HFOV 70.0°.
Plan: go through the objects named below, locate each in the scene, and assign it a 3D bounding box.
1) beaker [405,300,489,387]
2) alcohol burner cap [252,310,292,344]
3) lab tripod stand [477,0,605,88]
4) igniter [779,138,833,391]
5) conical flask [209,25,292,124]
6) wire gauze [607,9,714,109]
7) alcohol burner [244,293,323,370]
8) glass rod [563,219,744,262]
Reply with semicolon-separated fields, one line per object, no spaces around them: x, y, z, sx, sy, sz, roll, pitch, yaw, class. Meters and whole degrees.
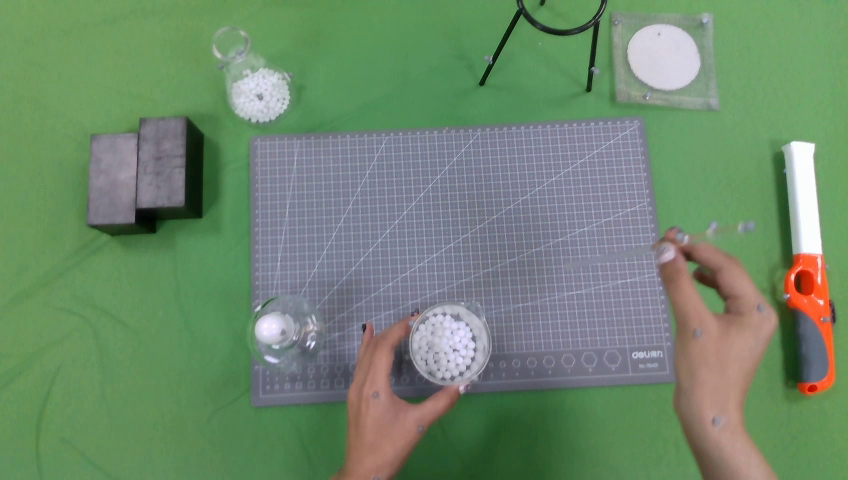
0.020;0.098;0.582;0.074;0.100;0.084;34;78;4;beaker
-0.141;0.080;0.557;0.034;0.048;0.034;1;82;-4;alcohol burner cap
0.128;-0.228;0.649;0.148;0.132;0.148;0;81;0;lab tripod stand
0.413;0.023;0.659;0.057;0.025;0.275;4;79;-11;igniter
-0.189;-0.178;0.640;0.075;0.122;0.075;0;79;0;conical flask
0.279;-0.216;0.712;0.125;0.011;0.121;3;80;-2;wire gauze
-0.142;0.088;0.592;0.078;0.119;0.077;0;78;2;alcohol burner
0.167;0.003;0.476;0.008;0.199;0.008;3;80;-20;glass rod
